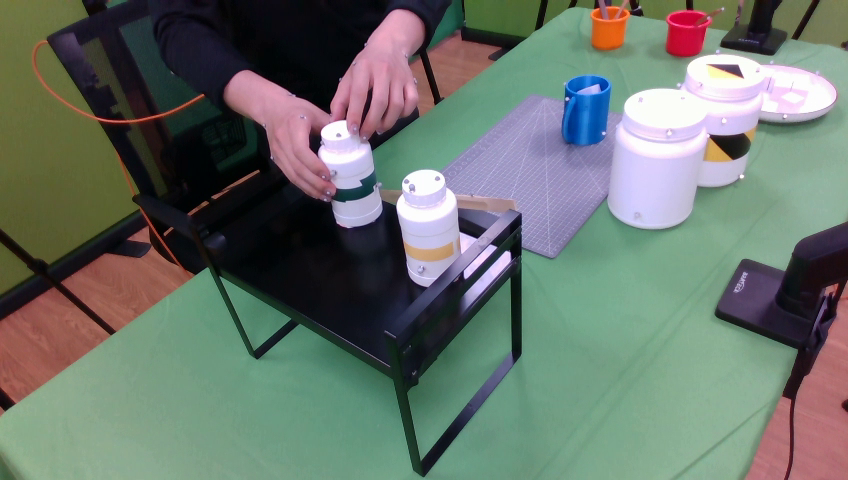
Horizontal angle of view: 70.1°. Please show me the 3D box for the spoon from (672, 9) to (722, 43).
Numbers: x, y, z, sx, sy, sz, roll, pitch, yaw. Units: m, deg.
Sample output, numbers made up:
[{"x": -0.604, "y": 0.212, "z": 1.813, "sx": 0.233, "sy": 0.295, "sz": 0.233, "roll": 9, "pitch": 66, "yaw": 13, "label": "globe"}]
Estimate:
[{"x": 0.606, "y": -0.476, "z": 1.345, "sx": 0.042, "sy": 0.021, "sz": 0.193, "roll": -6, "pitch": -3, "yaw": -2, "label": "spoon"}]

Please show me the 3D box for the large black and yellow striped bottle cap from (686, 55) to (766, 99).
[{"x": 0.474, "y": -0.258, "z": 0.952, "sx": 0.115, "sy": 0.019, "sz": 0.114, "roll": -5, "pitch": 41, "yaw": 5, "label": "large black and yellow striped bottle cap"}]

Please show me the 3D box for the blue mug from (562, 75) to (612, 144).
[{"x": 0.298, "y": -0.239, "z": 1.143, "sx": 0.117, "sy": 0.106, "sz": 0.081, "roll": -37, "pitch": 48, "yaw": -29, "label": "blue mug"}]

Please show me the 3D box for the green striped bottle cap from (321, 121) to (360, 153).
[{"x": -0.097, "y": -0.119, "z": 0.699, "sx": 0.044, "sy": 0.020, "sz": 0.044, "roll": -5, "pitch": 39, "yaw": 4, "label": "green striped bottle cap"}]

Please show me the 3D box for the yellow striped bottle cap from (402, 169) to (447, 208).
[{"x": 0.000, "y": -0.052, "z": 0.605, "sx": 0.044, "sy": 0.019, "sz": 0.044, "roll": -4, "pitch": 42, "yaw": 4, "label": "yellow striped bottle cap"}]

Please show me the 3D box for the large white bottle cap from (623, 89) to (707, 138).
[{"x": 0.352, "y": -0.187, "z": 0.886, "sx": 0.115, "sy": 0.018, "sz": 0.114, "roll": -4, "pitch": 41, "yaw": 4, "label": "large white bottle cap"}]

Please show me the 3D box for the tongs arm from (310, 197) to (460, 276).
[{"x": -0.078, "y": -0.012, "z": 0.943, "sx": 0.028, "sy": 0.028, "sz": 0.384, "roll": -43, "pitch": 39, "yaw": -23, "label": "tongs arm"}]

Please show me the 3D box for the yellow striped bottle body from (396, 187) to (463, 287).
[{"x": 0.006, "y": -0.013, "z": 0.638, "sx": 0.063, "sy": 0.121, "sz": 0.062, "roll": -5, "pitch": 41, "yaw": 4, "label": "yellow striped bottle body"}]

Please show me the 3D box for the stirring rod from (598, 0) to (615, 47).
[{"x": 0.437, "y": -0.551, "z": 1.462, "sx": 0.014, "sy": 0.006, "sz": 0.175, "roll": -11, "pitch": 83, "yaw": 1, "label": "stirring rod"}]

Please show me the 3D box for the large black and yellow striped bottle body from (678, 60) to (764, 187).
[{"x": 0.482, "y": -0.196, "z": 1.007, "sx": 0.131, "sy": 0.185, "sz": 0.130, "roll": -4, "pitch": 41, "yaw": 4, "label": "large black and yellow striped bottle body"}]

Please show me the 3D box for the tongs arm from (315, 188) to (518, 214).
[{"x": -0.028, "y": -0.060, "z": 0.988, "sx": 0.382, "sy": 0.027, "sz": 0.051, "roll": 9, "pitch": 44, "yaw": 36, "label": "tongs arm"}]

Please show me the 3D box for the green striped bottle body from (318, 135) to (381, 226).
[{"x": -0.090, "y": -0.081, "z": 0.734, "sx": 0.063, "sy": 0.120, "sz": 0.063, "roll": -4, "pitch": 42, "yaw": 4, "label": "green striped bottle body"}]

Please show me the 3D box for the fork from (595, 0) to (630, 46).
[{"x": 0.479, "y": -0.556, "z": 1.452, "sx": 0.028, "sy": 0.019, "sz": 0.207, "roll": 41, "pitch": 103, "yaw": 39, "label": "fork"}]

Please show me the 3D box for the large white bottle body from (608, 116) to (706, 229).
[{"x": 0.361, "y": -0.123, "z": 0.942, "sx": 0.130, "sy": 0.185, "sz": 0.130, "roll": -5, "pitch": 41, "yaw": 4, "label": "large white bottle body"}]

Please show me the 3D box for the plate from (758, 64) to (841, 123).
[{"x": 0.695, "y": -0.283, "z": 1.189, "sx": 0.207, "sy": 0.039, "sz": 0.206, "roll": -4, "pitch": 40, "yaw": 4, "label": "plate"}]
